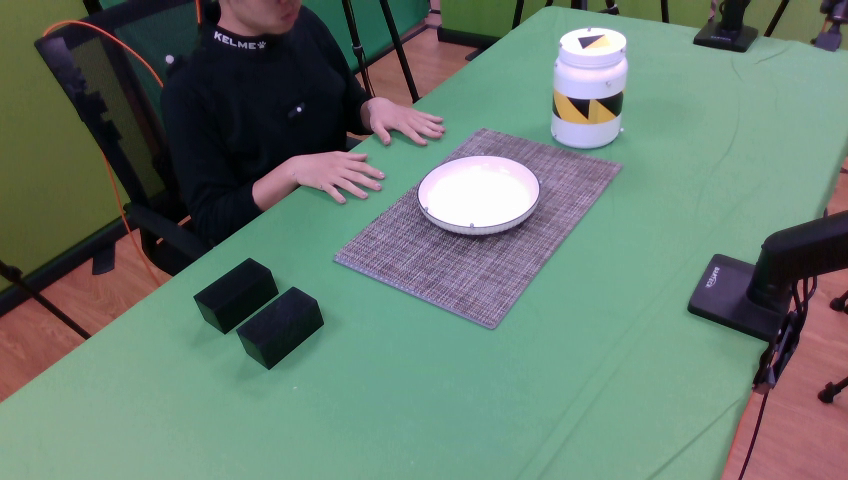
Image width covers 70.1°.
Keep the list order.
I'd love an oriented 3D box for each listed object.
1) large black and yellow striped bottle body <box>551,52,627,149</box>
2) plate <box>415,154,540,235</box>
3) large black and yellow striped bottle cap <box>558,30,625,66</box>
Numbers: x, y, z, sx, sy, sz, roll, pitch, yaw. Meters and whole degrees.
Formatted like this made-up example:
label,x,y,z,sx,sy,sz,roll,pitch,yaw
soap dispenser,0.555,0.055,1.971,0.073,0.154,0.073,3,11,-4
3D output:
label,x,y,z,sx,sy,sz,roll,pitch,yaw
large black and yellow striped bottle body,0.305,-0.278,1.125,0.131,0.185,0.130,-4,41,4
plate,0.090,-0.074,1.025,0.207,0.039,0.206,-4,41,4
large black and yellow striped bottle cap,0.297,-0.342,1.071,0.115,0.019,0.114,-3,42,4
